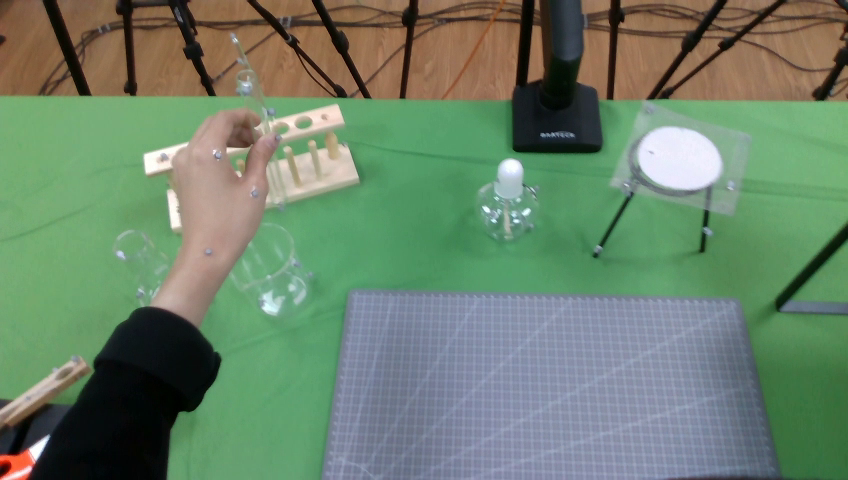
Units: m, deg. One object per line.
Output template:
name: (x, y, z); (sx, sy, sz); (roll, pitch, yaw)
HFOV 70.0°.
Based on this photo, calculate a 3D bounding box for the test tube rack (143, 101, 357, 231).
test tube rack: (-0.216, -0.094, 0.771); (0.242, 0.086, 0.066); (-17, 59, -8)

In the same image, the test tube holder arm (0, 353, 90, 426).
test tube holder arm: (-0.415, 0.174, 0.597); (0.178, 0.015, 0.013); (-38, 62, -20)

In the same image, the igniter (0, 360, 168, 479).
igniter: (-0.372, 0.212, 0.568); (0.276, 0.025, 0.057); (-38, 65, -22)

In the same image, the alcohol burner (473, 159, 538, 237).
alcohol burner: (0.097, -0.056, 0.715); (0.078, 0.120, 0.077); (-1, 57, 1)

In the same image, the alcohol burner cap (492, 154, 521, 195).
alcohol burner cap: (0.094, -0.077, 0.685); (0.034, 0.048, 0.033); (-1, 57, 2)

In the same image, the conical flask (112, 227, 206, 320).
conical flask: (-0.300, 0.033, 0.674); (0.075, 0.123, 0.074); (-1, 58, 3)

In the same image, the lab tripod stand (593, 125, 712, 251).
lab tripod stand: (0.266, -0.054, 0.693); (0.148, 0.132, 0.147); (-1, 57, 1)

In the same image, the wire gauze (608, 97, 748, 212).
wire gauze: (0.270, -0.091, 0.636); (0.121, 0.011, 0.124); (20, 62, 13)

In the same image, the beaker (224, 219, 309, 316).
beaker: (-0.174, 0.038, 0.679); (0.074, 0.101, 0.083); (14, 60, 12)

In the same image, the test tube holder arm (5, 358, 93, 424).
test tube holder arm: (-0.378, 0.152, 0.610); (0.088, 0.015, 0.010); (-37, 62, -19)

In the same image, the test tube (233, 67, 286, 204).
test tube: (-0.136, -0.082, 0.513); (0.017, 0.151, 0.017); (1, 54, 0)

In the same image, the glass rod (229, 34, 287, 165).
glass rod: (-0.194, -0.159, 0.731); (0.008, 0.202, 0.008); (-5, 51, 7)
